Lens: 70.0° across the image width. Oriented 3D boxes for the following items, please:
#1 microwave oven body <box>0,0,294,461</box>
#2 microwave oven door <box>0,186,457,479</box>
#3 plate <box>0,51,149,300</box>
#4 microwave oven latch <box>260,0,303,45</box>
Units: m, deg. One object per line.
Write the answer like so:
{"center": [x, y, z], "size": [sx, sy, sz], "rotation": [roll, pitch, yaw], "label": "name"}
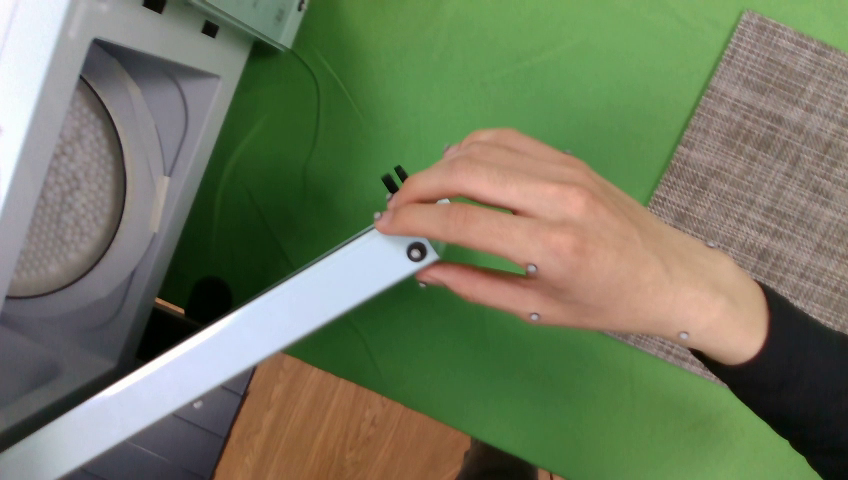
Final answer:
{"center": [-0.330, -0.095, 0.440], "size": [0.326, 0.259, 0.442], "rotation": [24, 100, 1], "label": "microwave oven body"}
{"center": [-0.140, 0.071, 0.445], "size": [0.356, 0.243, 0.039], "rotation": [-31, 94, 8], "label": "microwave oven door"}
{"center": [-0.328, -0.055, 0.504], "size": [0.209, 0.038, 0.209], "rotation": [0, 100, 1], "label": "plate"}
{"center": [-0.115, -0.206, 0.504], "size": [0.030, 0.029, 0.079], "rotation": [28, 100, 0], "label": "microwave oven latch"}
